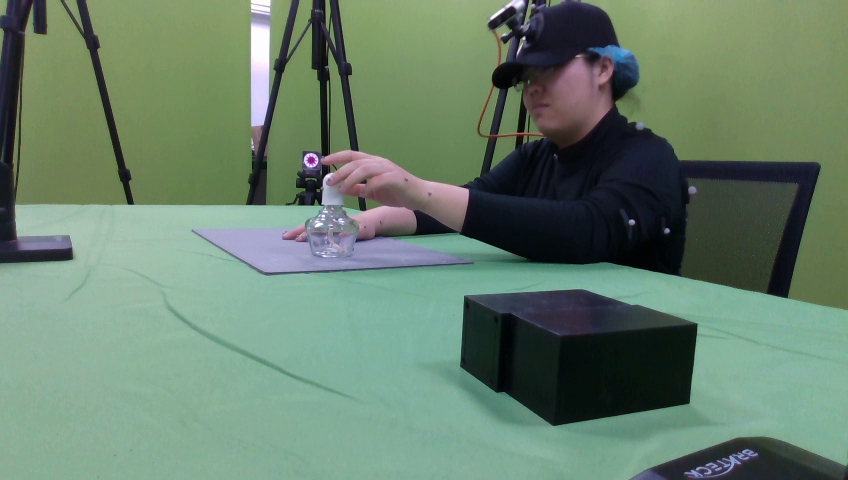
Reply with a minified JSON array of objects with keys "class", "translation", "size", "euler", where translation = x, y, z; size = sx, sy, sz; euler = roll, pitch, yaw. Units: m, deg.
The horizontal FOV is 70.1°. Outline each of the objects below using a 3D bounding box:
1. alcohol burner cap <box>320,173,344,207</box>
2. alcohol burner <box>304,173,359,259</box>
[{"class":"alcohol burner cap","translation":[-0.129,-0.070,0.848],"size":[0.034,0.048,0.034],"euler":[0,2,0]},{"class":"alcohol burner","translation":[-0.130,-0.034,0.851],"size":[0.078,0.119,0.078],"euler":[2,5,0]}]
